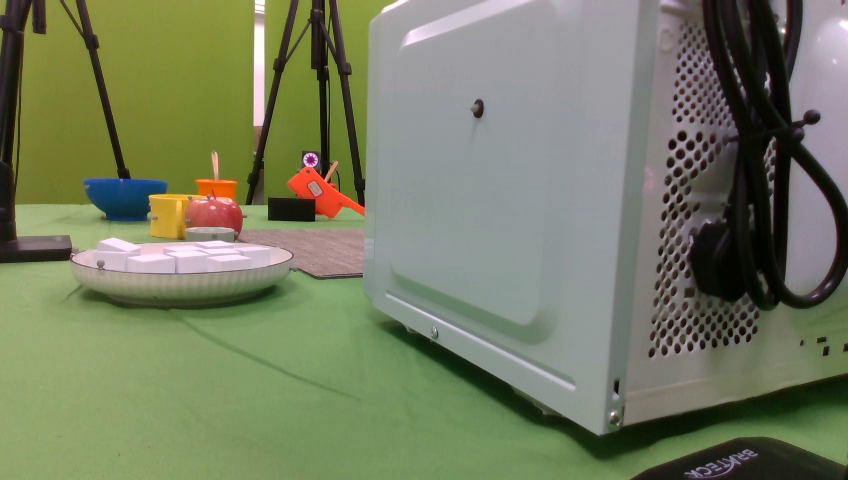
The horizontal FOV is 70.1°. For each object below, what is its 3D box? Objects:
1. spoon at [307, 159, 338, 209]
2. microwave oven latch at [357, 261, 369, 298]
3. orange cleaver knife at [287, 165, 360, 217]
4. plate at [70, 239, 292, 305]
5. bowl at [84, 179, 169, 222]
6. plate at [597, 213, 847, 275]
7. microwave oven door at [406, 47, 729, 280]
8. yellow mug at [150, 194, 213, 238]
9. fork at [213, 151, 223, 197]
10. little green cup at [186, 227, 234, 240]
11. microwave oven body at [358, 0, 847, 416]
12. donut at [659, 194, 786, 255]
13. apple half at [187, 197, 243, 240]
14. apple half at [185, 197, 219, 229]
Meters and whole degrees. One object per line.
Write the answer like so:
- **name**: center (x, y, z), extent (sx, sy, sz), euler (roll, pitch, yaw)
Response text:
- **spoon**: center (-0.257, -0.147, 1.567), extent (0.041, 0.022, 0.193), euler (1, 51, 20)
- **microwave oven latch**: center (-0.019, 0.033, 0.530), extent (0.079, 0.029, 0.030), euler (-1, 7, -26)
- **orange cleaver knife**: center (-0.211, -0.092, 1.382), extent (0.212, 0.077, 0.012), euler (34, 2, -15)
- **plate**: center (-0.242, 0.031, 0.618), extent (0.208, 0.039, 0.207), euler (2, 8, 0)
- **bowl**: center (-0.584, -0.078, 1.194), extent (0.151, 0.077, 0.151), euler (3, 8, 0)
- **plate**: center (0.255, 0.000, 0.519), extent (0.209, 0.038, 0.209), euler (2, 5, 0)
- **microwave oven door**: center (0.162, -0.080, 0.679), extent (0.357, 0.243, 0.039), euler (1, 8, -8)
- **yellow mug**: center (-0.401, -0.040, 1.003), extent (0.100, 0.064, 0.130), euler (-1, 9, -20)
- **fork**: center (-0.493, -0.143, 1.442), extent (0.028, 0.018, 0.206), euler (-3, 52, -18)
- **little green cup**: center (-0.285, 0.005, 0.805), extent (0.061, 0.038, 0.061), euler (2, 8, 0)
- **microwave oven body**: center (0.211, -0.047, 0.474), extent (0.444, 0.260, 0.324), euler (-1, 7, -28)
- **donut**: center (0.253, -0.013, 0.518), extent (0.099, 0.048, 0.099), euler (0, 12, 0)
- **apple half**: center (-0.305, -0.026, 0.907), extent (0.053, 0.074, 0.081), euler (12, 8, 31)
- **apple half**: center (-0.338, -0.031, 0.927), extent (0.032, 0.081, 0.081), euler (12, 12, 31)
